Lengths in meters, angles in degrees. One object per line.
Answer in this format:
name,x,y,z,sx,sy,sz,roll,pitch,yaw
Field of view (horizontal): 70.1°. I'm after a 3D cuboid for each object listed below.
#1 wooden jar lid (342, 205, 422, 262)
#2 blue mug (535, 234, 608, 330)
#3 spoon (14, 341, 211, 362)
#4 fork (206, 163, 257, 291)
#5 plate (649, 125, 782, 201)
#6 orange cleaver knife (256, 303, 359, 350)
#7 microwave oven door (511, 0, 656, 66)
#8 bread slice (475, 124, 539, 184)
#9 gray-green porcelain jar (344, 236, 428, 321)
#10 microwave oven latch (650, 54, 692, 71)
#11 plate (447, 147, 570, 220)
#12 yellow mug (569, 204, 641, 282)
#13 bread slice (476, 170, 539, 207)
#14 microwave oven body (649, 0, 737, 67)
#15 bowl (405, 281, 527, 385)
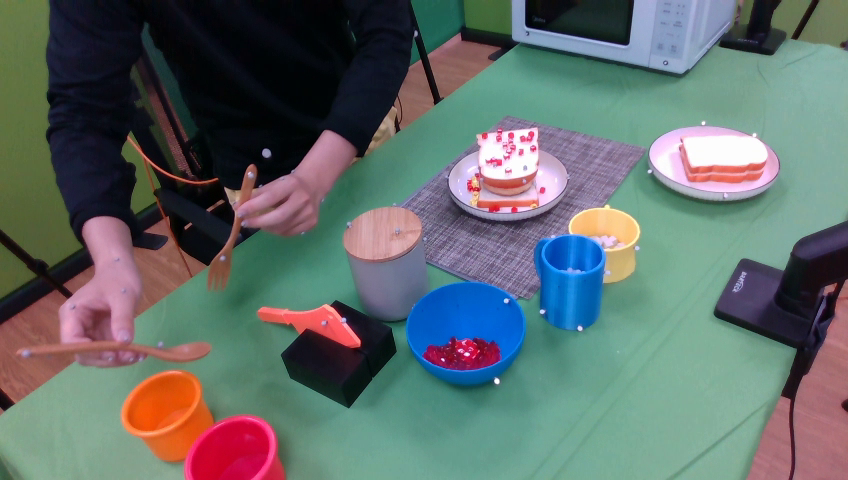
wooden jar lid,-0.055,-0.006,0.808,0.108,0.021,0.108,-6,40,6
blue mug,0.191,0.048,0.824,0.082,0.106,0.115,-26,44,-21
spoon,-0.298,0.109,0.600,0.041,0.195,0.021,14,88,35
fork,-0.243,-0.011,0.762,0.028,0.207,0.018,6,40,-33
plate,0.493,-0.127,1.036,0.207,0.039,0.206,-4,41,4
orange cleaver knife,-0.161,0.115,0.813,0.209,0.077,0.012,-4,30,47
microwave oven door,0.351,-0.539,1.348,0.353,0.245,0.039,24,50,31
bread slice,0.143,-0.144,1.009,0.107,0.018,0.133,-8,46,8
gray-green porcelain jar,-0.049,0.042,0.849,0.106,0.127,0.105,-4,41,4
microwave oven latch,0.531,-0.386,1.301,0.078,0.029,0.030,25,50,32
plate,0.145,-0.098,1.046,0.209,0.038,0.208,-4,41,4
yellow mug,0.268,-0.005,0.904,0.099,0.064,0.130,7,41,15
bread slice,0.144,-0.103,1.059,0.105,0.019,0.131,-1,44,5
microwave oven body,0.475,-0.602,1.411,0.438,0.261,0.327,23,50,32
bowl,0.055,0.131,0.767,0.151,0.077,0.150,-4,40,4
